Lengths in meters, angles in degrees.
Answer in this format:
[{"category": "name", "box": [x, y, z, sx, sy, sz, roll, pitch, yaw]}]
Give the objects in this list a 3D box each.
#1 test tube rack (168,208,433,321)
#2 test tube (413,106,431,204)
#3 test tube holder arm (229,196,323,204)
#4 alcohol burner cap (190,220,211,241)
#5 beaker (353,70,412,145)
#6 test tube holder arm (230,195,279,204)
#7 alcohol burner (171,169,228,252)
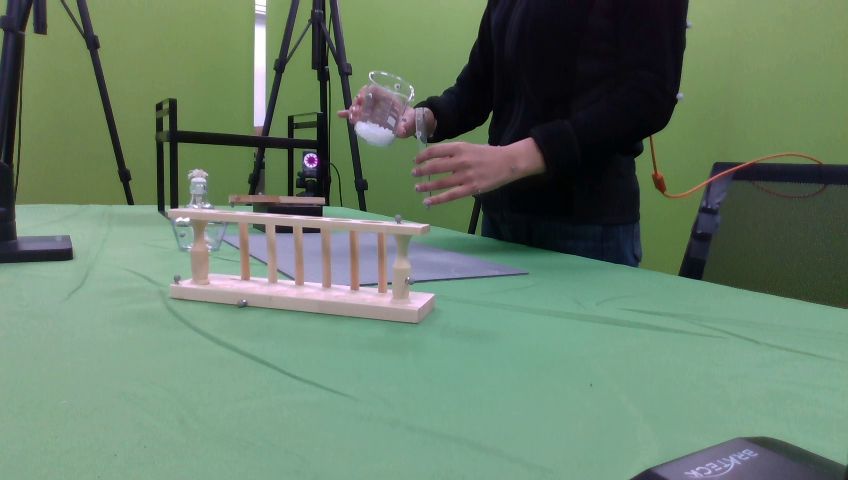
[{"category": "test tube rack", "box": [-0.116, 0.017, 0.574, 0.242, 0.085, 0.067, 4, 8, 13]}, {"category": "test tube", "box": [-0.003, -0.131, 0.931, 0.017, 0.150, 0.017, -5, 2, 0]}, {"category": "test tube holder arm", "box": [-0.276, -0.075, 1.144, 0.179, 0.015, 0.013, -1, 1, -32]}, {"category": "alcohol burner cap", "box": [-0.365, -0.023, 0.988, 0.034, 0.048, 0.034, 1, 8, 0]}, {"category": "beaker", "box": [-0.068, -0.209, 0.973, 0.084, 0.100, 0.074, 33, 34, 14]}, {"category": "test tube holder arm", "box": [-0.311, -0.075, 1.115, 0.088, 0.015, 0.010, -1, 1, -31]}, {"category": "alcohol burner", "box": [-0.325, -0.043, 0.875, 0.078, 0.119, 0.078, 0, 7, 0]}]
